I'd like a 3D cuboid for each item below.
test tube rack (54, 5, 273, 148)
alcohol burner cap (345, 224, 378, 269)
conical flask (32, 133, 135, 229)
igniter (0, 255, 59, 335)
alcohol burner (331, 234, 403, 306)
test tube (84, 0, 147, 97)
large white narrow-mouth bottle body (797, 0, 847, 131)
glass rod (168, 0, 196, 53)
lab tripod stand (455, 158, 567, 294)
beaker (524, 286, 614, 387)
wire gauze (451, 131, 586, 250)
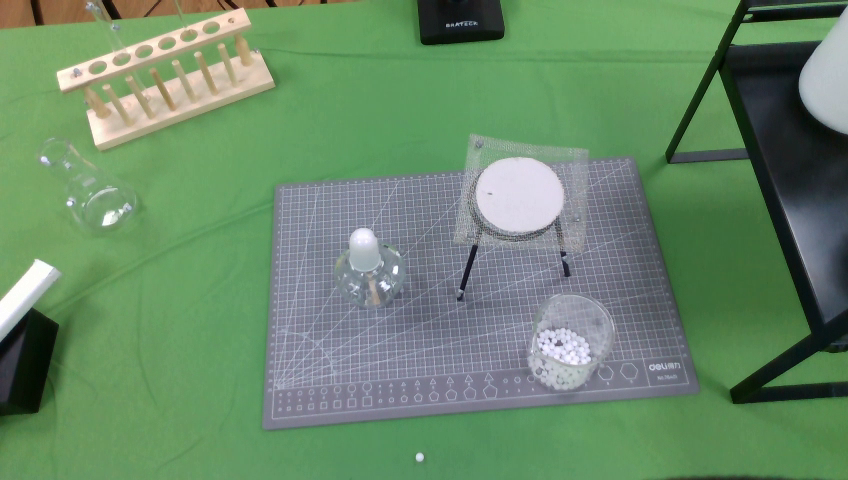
[{"bbox_3d":[-0.332,-0.212,0.789,0.242,0.086,0.066,-24,64,-10],"label":"test tube rack"},{"bbox_3d":[-0.063,0.004,0.608,0.034,0.048,0.033,2,54,-2],"label":"alcohol burner cap"},{"bbox_3d":[-0.396,-0.072,0.697,0.075,0.123,0.074,-1,62,2],"label":"conical flask"},{"bbox_3d":[-0.471,0.131,0.595,0.057,0.025,0.275,20,64,22],"label":"igniter"},{"bbox_3d":[-0.062,0.023,0.639,0.078,0.120,0.077,0,60,1],"label":"alcohol burner"},{"bbox_3d":[-0.377,-0.235,0.746,0.017,0.151,0.017,-1,56,1],"label":"test tube"},{"bbox_3d":[0.393,-0.180,0.483,0.102,0.196,0.101,-1,62,3],"label":"large white narrow-mouth bottle body"},{"bbox_3d":[-0.306,-0.281,0.749,0.008,0.201,0.008,-2,55,3],"label":"glass rod"},{"bbox_3d":[0.090,-0.013,0.641,0.148,0.132,0.147,0,61,1],"label":"lab tripod stand"},{"bbox_3d":[0.136,0.102,0.600,0.084,0.101,0.073,-29,65,-12],"label":"beaker"},{"bbox_3d":[0.094,-0.049,0.584,0.121,0.011,0.124,8,64,4],"label":"wire gauze"}]
